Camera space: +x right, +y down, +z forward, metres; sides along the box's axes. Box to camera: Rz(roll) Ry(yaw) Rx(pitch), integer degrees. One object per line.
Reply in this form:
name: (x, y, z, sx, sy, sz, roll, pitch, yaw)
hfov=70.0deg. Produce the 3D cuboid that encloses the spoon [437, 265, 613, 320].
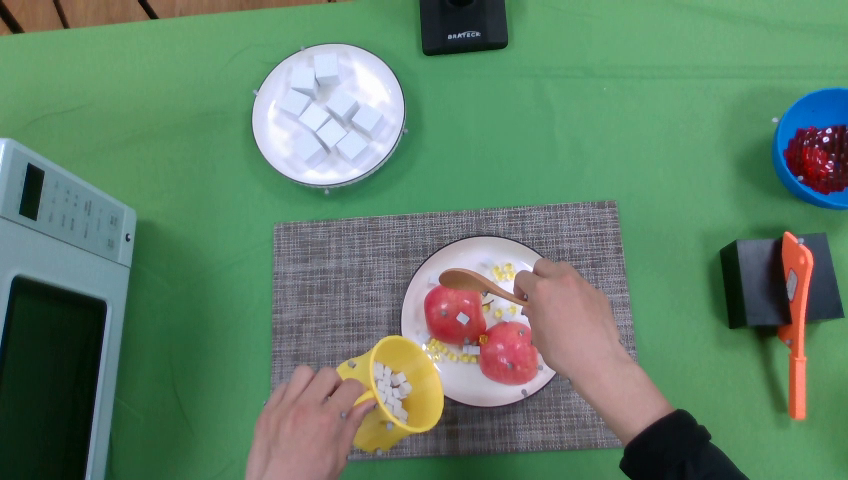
spoon: (0.098, 0.057, 0.625, 0.192, 0.042, 0.021, 16, 58, 33)

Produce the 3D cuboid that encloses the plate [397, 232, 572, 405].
plate: (0.072, 0.094, 0.736, 0.209, 0.038, 0.208, -1, 77, 4)

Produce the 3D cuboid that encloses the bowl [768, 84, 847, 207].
bowl: (0.486, -0.103, 0.737, 0.151, 0.077, 0.150, -1, 76, 5)

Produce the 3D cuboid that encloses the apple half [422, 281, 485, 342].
apple half: (0.034, 0.081, 0.726, 0.074, 0.053, 0.080, -6, 77, 5)

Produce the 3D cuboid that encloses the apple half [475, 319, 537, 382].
apple half: (0.097, 0.131, 0.719, 0.081, 0.033, 0.081, -1, 73, 5)

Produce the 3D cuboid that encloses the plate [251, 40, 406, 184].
plate: (-0.127, -0.170, 0.821, 0.207, 0.039, 0.206, -1, 76, 4)

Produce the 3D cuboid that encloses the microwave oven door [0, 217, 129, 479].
microwave oven door: (-0.409, 0.174, 0.632, 0.039, 0.245, 0.354, -1, 76, 4)

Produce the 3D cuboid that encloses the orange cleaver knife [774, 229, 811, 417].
orange cleaver knife: (0.417, 0.094, 0.691, 0.012, 0.077, 0.212, -3, 99, 8)

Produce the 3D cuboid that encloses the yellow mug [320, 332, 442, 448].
yellow mug: (-0.048, 0.152, 0.601, 0.064, 0.131, 0.099, -35, 72, 33)

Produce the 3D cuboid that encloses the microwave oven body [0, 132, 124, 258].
microwave oven body: (-0.553, 0.135, 0.658, 0.326, 0.261, 0.439, 0, 77, 4)

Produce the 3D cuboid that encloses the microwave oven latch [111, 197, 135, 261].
microwave oven latch: (-0.396, -0.014, 0.783, 0.030, 0.029, 0.079, 2, 77, 4)
